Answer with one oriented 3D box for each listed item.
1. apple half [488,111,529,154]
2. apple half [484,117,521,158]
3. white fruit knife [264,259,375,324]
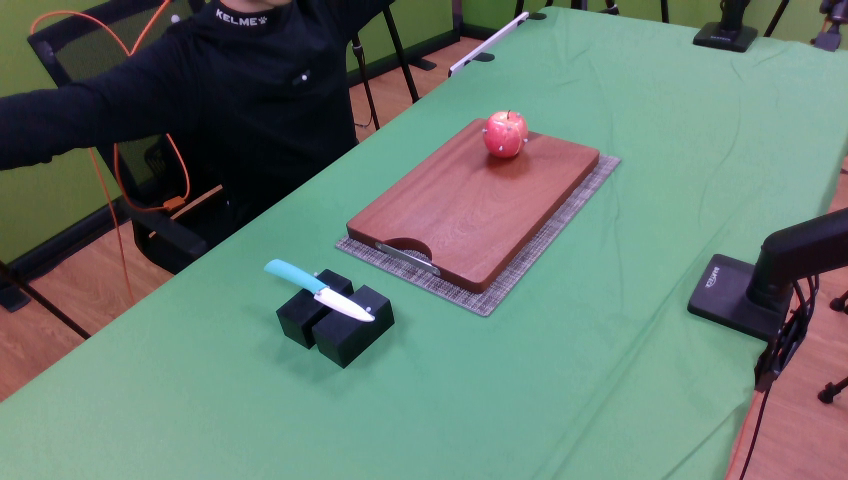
[{"bbox_3d":[0.156,-0.197,1.091,0.080,0.075,0.053,21,44,34],"label":"apple half"},{"bbox_3d":[0.132,-0.175,1.069,0.080,0.081,0.033,24,48,32],"label":"apple half"},{"bbox_3d":[-0.147,0.070,0.840,0.206,0.016,0.027,24,79,29],"label":"white fruit knife"}]
